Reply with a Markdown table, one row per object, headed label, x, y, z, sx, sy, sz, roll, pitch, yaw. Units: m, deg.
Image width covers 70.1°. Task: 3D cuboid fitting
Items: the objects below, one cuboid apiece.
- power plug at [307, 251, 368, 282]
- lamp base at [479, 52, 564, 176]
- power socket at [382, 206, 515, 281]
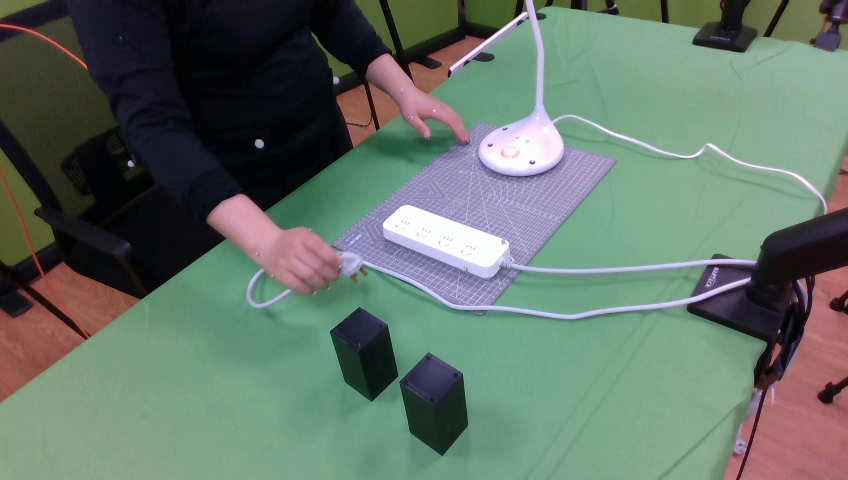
| label | x | y | z | sx | sy | sz | roll | pitch | yaw |
| --- | --- | --- | --- | --- | --- | --- | --- | --- | --- |
| power plug | -0.114 | 0.041 | 0.817 | 0.072 | 0.053 | 0.035 | -26 | 29 | 23 |
| lamp base | 0.181 | -0.235 | 1.093 | 0.159 | 0.181 | 0.179 | 18 | 44 | 27 |
| power socket | 0.032 | 0.002 | 0.950 | 0.225 | 0.033 | 0.072 | 21 | 49 | 29 |
